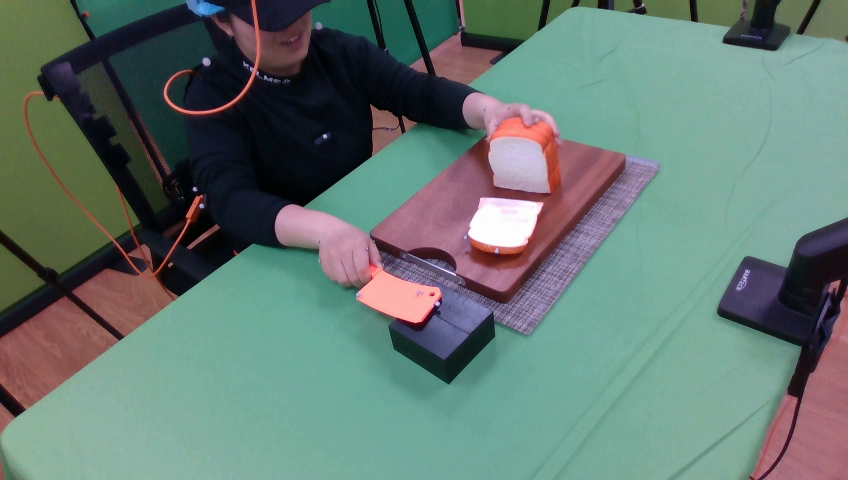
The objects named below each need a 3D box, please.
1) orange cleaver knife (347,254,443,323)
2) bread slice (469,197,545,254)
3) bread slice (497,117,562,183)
[{"bbox_3d":[-0.059,0.067,0.869,0.077,0.012,0.209,-38,38,-28],"label":"orange cleaver knife"},{"bbox_3d":[0.125,-0.023,0.943,0.104,0.019,0.131,8,38,18],"label":"bread slice"},{"bbox_3d":[0.174,-0.147,1.002,0.106,0.135,0.018,11,57,21],"label":"bread slice"}]
